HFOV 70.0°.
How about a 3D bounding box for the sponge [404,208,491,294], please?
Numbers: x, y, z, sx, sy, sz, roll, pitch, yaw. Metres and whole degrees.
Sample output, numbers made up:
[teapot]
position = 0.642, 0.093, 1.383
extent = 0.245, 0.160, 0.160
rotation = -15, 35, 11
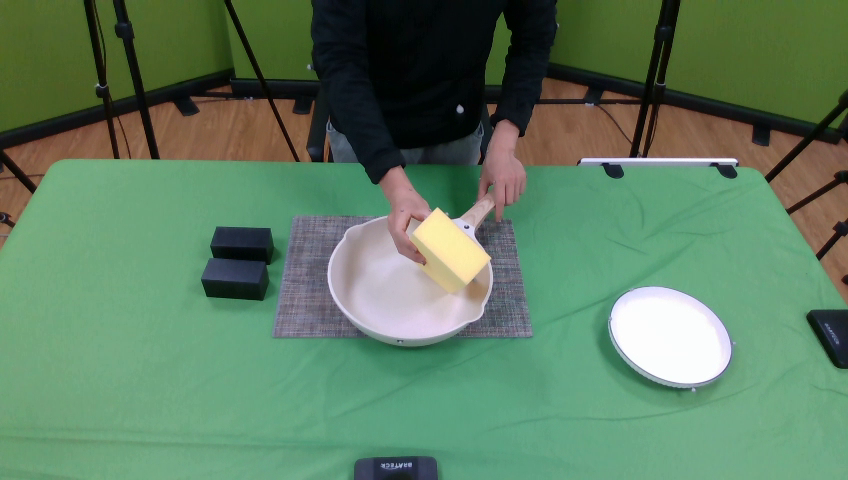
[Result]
[sponge]
position = 0.033, 0.026, 1.031
extent = 0.118, 0.207, 0.061
rotation = 43, 80, 2

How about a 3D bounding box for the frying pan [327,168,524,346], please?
[frying pan]
position = 0.042, 0.009, 1.132
extent = 0.305, 0.103, 0.487
rotation = 34, 61, 24

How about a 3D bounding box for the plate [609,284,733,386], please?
[plate]
position = 0.425, 0.167, 1.059
extent = 0.208, 0.039, 0.206
rotation = 2, 46, -2
